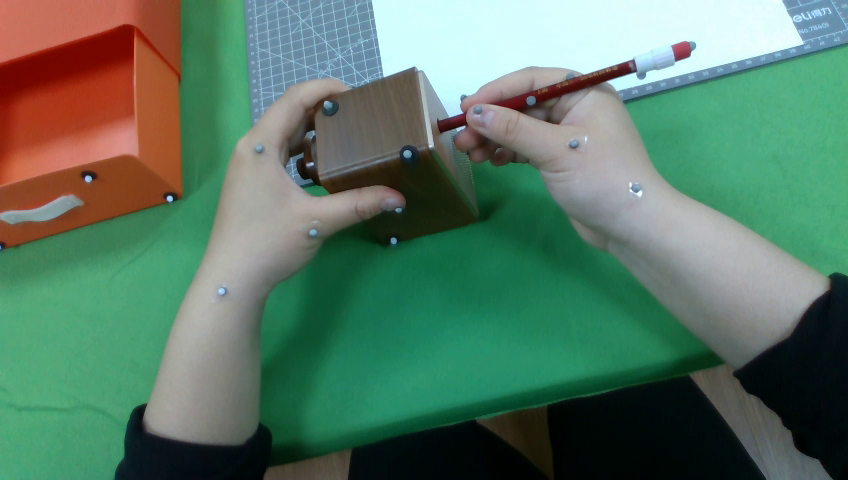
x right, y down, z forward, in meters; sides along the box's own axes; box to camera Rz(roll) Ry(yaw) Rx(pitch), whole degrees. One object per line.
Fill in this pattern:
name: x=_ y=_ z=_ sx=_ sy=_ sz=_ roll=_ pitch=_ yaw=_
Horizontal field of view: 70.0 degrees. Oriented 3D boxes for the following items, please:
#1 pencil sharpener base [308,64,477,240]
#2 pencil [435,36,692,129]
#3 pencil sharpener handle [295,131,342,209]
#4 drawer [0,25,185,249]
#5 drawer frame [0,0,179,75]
pencil sharpener base: x=-0.018 y=-0.050 z=0.389 sx=0.076 sy=0.108 sz=0.061 roll=-15 pitch=67 yaw=15
pencil: x=0.050 y=-0.080 z=0.344 sx=0.194 sy=0.012 sz=0.012 roll=-15 pitch=66 yaw=14
pencil sharpener handle: x=-0.069 y=-0.040 z=0.391 sx=0.030 sy=0.068 sz=0.035 roll=-15 pitch=62 yaw=15
drawer: x=-0.304 y=-0.112 z=0.496 sx=0.194 sy=0.074 sz=0.210 roll=-15 pitch=66 yaw=7
drawer frame: x=-0.328 y=-0.217 z=0.540 sx=0.201 sy=0.083 sz=0.211 roll=-15 pitch=66 yaw=7
